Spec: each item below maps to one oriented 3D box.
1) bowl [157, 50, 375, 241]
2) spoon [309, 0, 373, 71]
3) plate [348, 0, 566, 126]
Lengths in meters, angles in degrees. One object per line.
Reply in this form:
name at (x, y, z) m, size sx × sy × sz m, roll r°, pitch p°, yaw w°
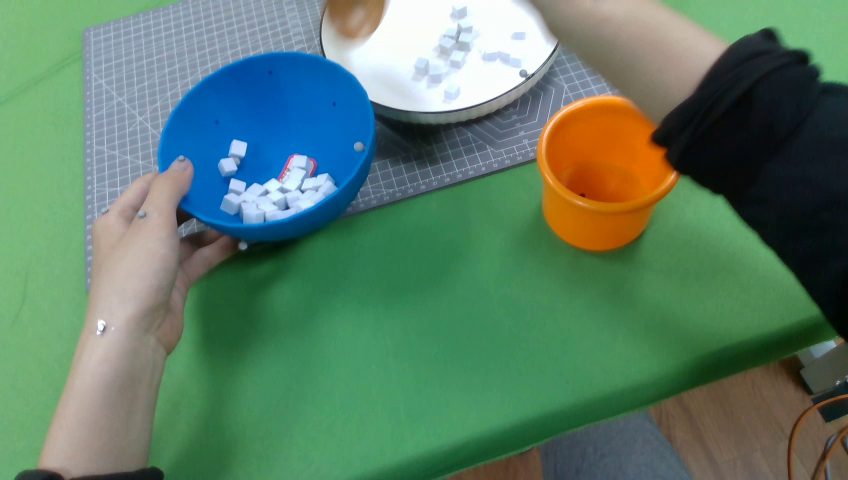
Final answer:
bowl at (-0.103, -0.056, 0.445) m, size 0.151 × 0.077 × 0.150 m, roll -3°, pitch 62°, yaw 6°
spoon at (-0.023, -0.175, 0.350) m, size 0.042 × 0.194 × 0.021 m, roll 34°, pitch 48°, yaw -6°
plate at (0.015, -0.179, 0.523) m, size 0.209 × 0.038 × 0.207 m, roll -3°, pitch 63°, yaw 6°
